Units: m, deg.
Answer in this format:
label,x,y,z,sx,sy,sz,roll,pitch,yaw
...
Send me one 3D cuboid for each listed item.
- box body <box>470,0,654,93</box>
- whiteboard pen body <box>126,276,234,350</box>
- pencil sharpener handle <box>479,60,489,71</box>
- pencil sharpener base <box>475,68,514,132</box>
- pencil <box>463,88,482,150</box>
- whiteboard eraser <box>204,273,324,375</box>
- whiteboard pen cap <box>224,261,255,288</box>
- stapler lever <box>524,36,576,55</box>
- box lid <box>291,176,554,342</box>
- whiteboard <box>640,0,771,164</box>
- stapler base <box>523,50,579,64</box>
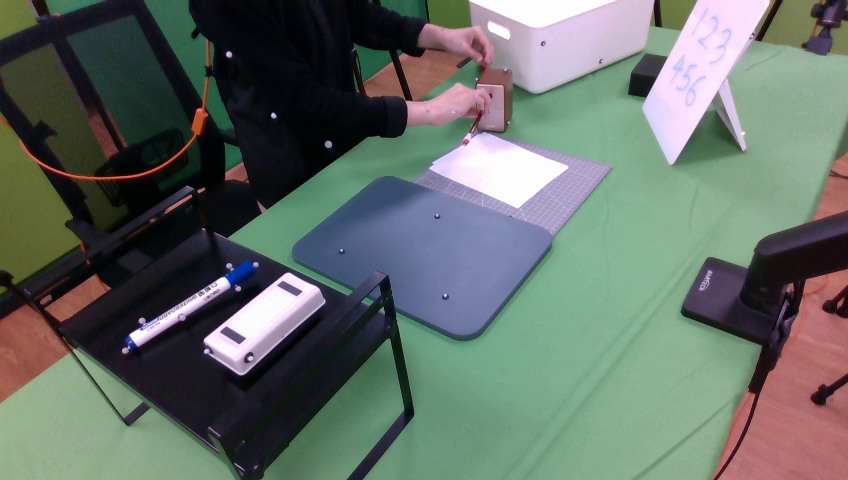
label,x,y,z,sx,sy,sz,roll,pitch,yaw
box body,0.319,-0.498,1.405,0.365,0.161,0.252,-26,44,-21
whiteboard pen body,-0.251,0.070,0.649,0.141,0.017,0.017,-36,48,-26
pencil sharpener handle,0.144,-0.345,1.239,0.068,0.036,0.030,30,45,-4
pencil sharpener base,0.145,-0.284,1.222,0.061,0.107,0.076,7,42,18
pencil,0.091,-0.228,1.113,0.012,0.012,0.193,4,47,13
whiteboard eraser,-0.157,0.084,0.605,0.055,0.042,0.113,24,49,30
whiteboard pen cap,-0.207,0.039,0.677,0.033,0.018,0.018,-36,47,-18
stapler lever,0.296,-0.456,1.418,0.117,0.040,0.027,4,40,17
box lid,-0.005,0.011,0.972,0.368,0.015,0.264,21,49,30
whiteboard,0.543,-0.299,1.076,0.144,0.305,0.216,12,40,-7
stapler base,0.301,-0.436,1.434,0.130,0.024,0.041,5,40,17
